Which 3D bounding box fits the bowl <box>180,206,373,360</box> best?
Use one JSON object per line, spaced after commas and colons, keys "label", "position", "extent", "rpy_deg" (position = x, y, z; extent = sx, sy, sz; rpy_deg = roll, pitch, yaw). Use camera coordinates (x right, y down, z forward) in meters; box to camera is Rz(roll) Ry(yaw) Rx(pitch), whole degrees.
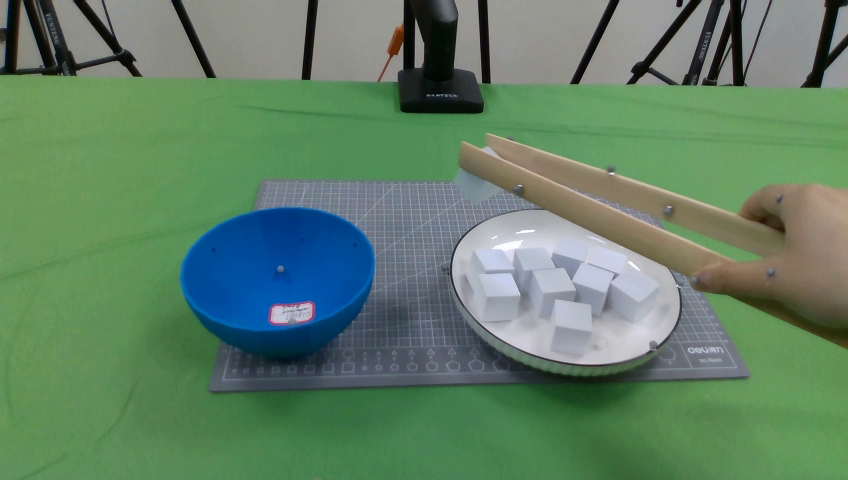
{"label": "bowl", "position": [-0.117, 0.047, 0.505], "extent": [0.151, 0.077, 0.150], "rpy_deg": [3, 39, -2]}

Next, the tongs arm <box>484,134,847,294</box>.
{"label": "tongs arm", "position": [0.188, -0.004, 0.420], "extent": [0.381, 0.027, 0.051], "rpy_deg": [25, 43, 31]}

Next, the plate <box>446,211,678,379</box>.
{"label": "plate", "position": [0.122, 0.048, 0.558], "extent": [0.208, 0.039, 0.205], "rpy_deg": [3, 39, -2]}

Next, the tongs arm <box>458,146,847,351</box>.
{"label": "tongs arm", "position": [0.172, 0.006, 0.407], "extent": [0.384, 0.028, 0.028], "rpy_deg": [28, 41, 34]}
